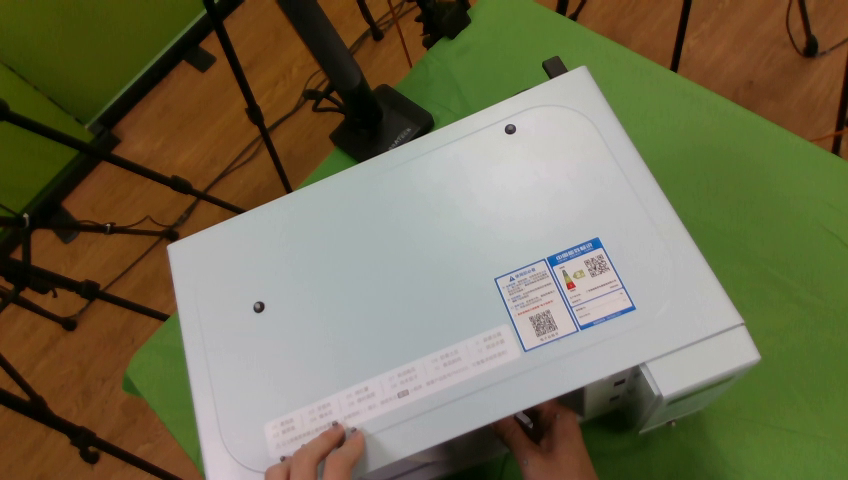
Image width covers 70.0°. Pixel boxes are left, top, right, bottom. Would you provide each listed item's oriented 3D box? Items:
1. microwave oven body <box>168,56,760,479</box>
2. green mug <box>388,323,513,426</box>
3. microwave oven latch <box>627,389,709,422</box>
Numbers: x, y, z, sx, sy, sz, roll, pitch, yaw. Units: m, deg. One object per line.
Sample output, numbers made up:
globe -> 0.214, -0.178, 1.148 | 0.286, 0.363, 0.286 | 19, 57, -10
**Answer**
microwave oven body -> 0.023, 0.074, 0.626 | 0.442, 0.262, 0.323 | -23, 64, 4
green mug -> 0.031, 0.140, 0.596 | 0.124, 0.106, 0.092 | 25, 75, 23
microwave oven latch -> 0.256, 0.165, 0.638 | 0.079, 0.030, 0.030 | -22, 64, 5
